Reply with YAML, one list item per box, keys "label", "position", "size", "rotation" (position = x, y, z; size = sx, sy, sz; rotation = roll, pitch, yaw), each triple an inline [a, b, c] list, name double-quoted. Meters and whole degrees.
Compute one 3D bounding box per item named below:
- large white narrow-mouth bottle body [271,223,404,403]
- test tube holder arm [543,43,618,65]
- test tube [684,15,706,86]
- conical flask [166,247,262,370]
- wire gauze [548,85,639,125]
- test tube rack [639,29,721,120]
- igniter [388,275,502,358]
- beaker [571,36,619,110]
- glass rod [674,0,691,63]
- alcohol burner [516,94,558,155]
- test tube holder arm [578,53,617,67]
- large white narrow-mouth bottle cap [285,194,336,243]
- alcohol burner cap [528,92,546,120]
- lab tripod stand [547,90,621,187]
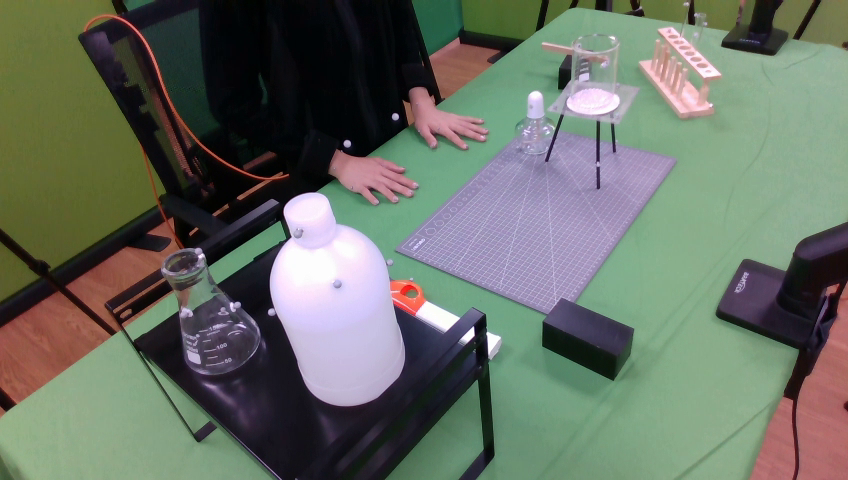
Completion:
- label: "large white narrow-mouth bottle body"
  position: [-0.077, 0.048, 0.525]
  size: [0.102, 0.195, 0.101]
  rotation: [-5, 40, 5]
- label: "test tube holder arm"
  position: [0.345, -0.413, 1.341]
  size: [0.177, 0.015, 0.013]
  rotation: [25, 50, 31]
- label: "test tube"
  position: [0.541, -0.378, 1.216]
  size: [0.017, 0.151, 0.017]
  rotation: [-2, 44, 3]
- label: "conical flask"
  position: [-0.209, 0.064, 0.585]
  size: [0.075, 0.122, 0.075]
  rotation: [-5, 40, 4]
- label: "wire gauze"
  position: [0.286, -0.233, 1.020]
  size: [0.124, 0.011, 0.122]
  rotation: [15, 43, 30]
- label: "test tube rack"
  position: [0.527, -0.351, 1.262]
  size: [0.067, 0.085, 0.241]
  rotation: [-8, 40, 1]
- label: "igniter"
  position: [-0.009, 0.094, 0.870]
  size: [0.274, 0.025, 0.057]
  rotation: [25, 60, 33]
- label: "beaker"
  position: [0.281, -0.273, 0.992]
  size: [0.084, 0.101, 0.073]
  rotation: [-24, 42, -16]
- label: "glass rod"
  position: [0.537, -0.437, 1.257]
  size: [0.008, 0.200, 0.008]
  rotation: [0, 39, 1]
- label: "alcohol burner"
  position: [0.212, -0.221, 1.135]
  size: [0.078, 0.119, 0.077]
  rotation: [-5, 43, 5]
- label: "test tube holder arm"
  position: [0.376, -0.393, 1.314]
  size: [0.087, 0.015, 0.010]
  rotation: [26, 51, 32]
- label: "large white narrow-mouth bottle cap"
  position: [-0.087, -0.017, 0.468]
  size: [0.038, 0.024, 0.037]
  rotation: [-4, 40, 4]
- label: "alcohol burner cap"
  position: [0.206, -0.249, 1.112]
  size: [0.034, 0.048, 0.033]
  rotation: [-6, 34, 5]
- label: "lab tripod stand"
  position: [0.289, -0.184, 1.062]
  size: [0.148, 0.132, 0.147]
  rotation: [-6, 41, 6]
